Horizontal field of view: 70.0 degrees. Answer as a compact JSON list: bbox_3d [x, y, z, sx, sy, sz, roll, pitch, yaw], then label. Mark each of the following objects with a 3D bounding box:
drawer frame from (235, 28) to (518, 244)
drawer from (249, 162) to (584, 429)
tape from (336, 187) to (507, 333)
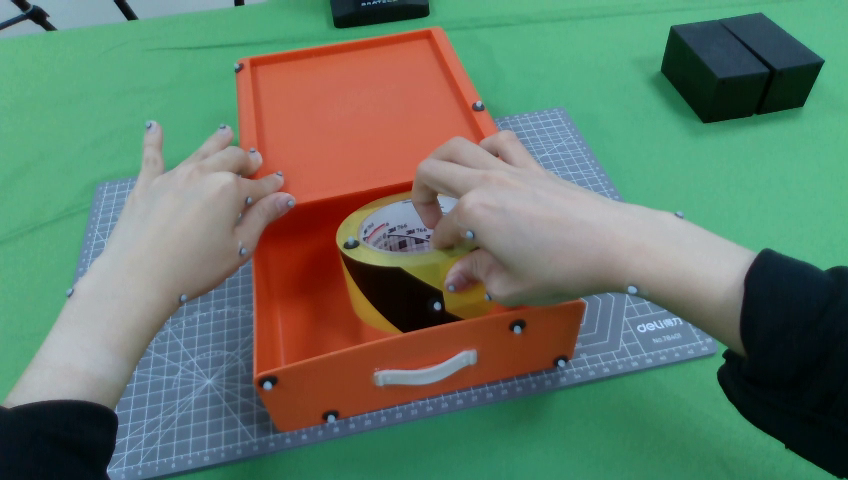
[{"bbox_3d":[-0.051,-0.083,0.517,0.202,0.083,0.211,-13,47,-8],"label":"drawer frame"},{"bbox_3d":[-0.021,0.008,0.432,0.195,0.074,0.209,-12,47,-7],"label":"drawer"},{"bbox_3d":[-0.002,0.010,0.413,0.117,0.053,0.116,-6,28,4],"label":"tape"}]
